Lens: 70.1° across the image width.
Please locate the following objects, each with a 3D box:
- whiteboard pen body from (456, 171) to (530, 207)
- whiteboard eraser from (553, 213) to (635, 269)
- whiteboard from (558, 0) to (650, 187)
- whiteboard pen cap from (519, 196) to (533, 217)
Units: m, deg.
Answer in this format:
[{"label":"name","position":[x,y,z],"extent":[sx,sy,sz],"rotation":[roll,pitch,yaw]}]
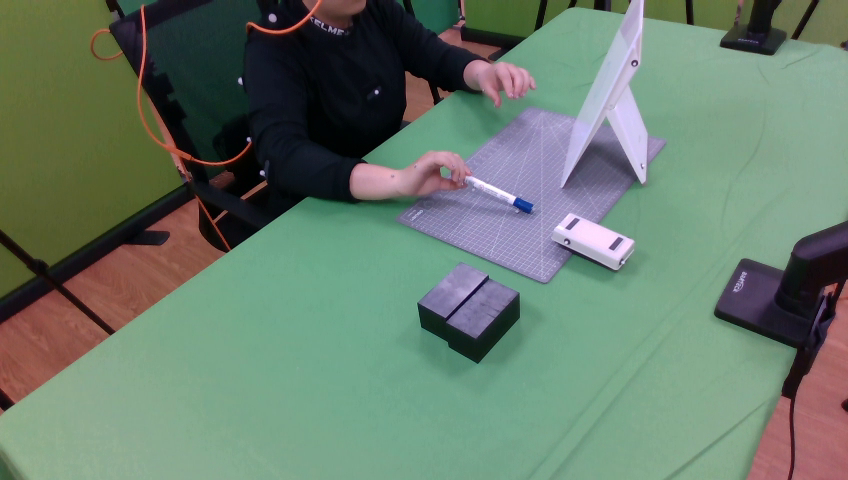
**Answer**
[{"label":"whiteboard pen body","position":[0.117,-0.085,1.027],"extent":[0.140,0.017,0.017],"rotation":[26,49,15]},{"label":"whiteboard eraser","position":[0.257,0.003,0.918],"extent":[0.112,0.042,0.056],"rotation":[27,49,30]},{"label":"whiteboard","position":[0.362,-0.238,1.026],"extent":[0.144,0.306,0.217],"rotation":[21,45,4]},{"label":"whiteboard pen cap","position":[0.171,-0.057,1.015],"extent":[0.018,0.018,0.033],"rotation":[-19,84,-13]}]
